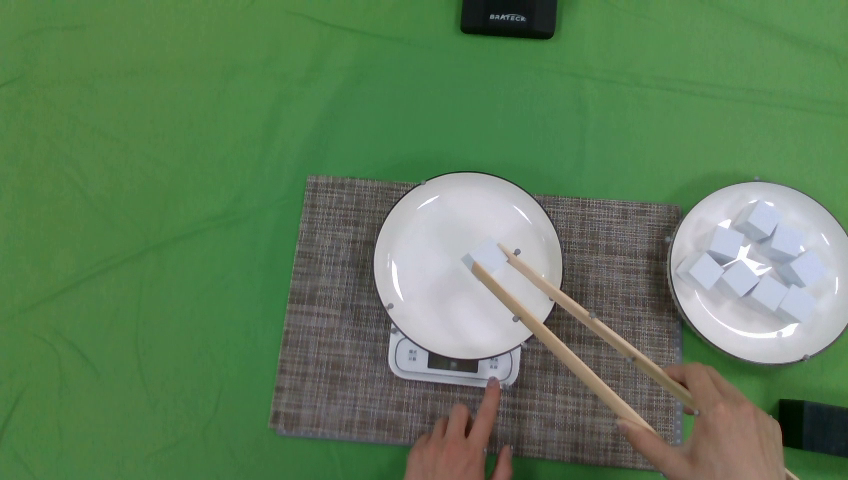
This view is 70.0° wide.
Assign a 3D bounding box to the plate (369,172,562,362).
[{"bbox_3d":[0.045,0.029,0.666,0.209,0.038,0.208,0,78,2],"label":"plate"}]

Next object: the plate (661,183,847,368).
[{"bbox_3d":[0.370,0.040,0.685,0.207,0.039,0.206,0,78,2],"label":"plate"}]

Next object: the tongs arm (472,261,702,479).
[{"bbox_3d":[0.180,0.148,0.534,0.028,0.028,0.384,-36,65,-25],"label":"tongs arm"}]

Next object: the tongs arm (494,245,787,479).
[{"bbox_3d":[0.196,0.135,0.542,0.382,0.027,0.050,39,65,21],"label":"tongs arm"}]

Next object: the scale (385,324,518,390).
[{"bbox_3d":[0.038,0.064,0.693,0.148,0.032,0.200,6,78,4],"label":"scale"}]
